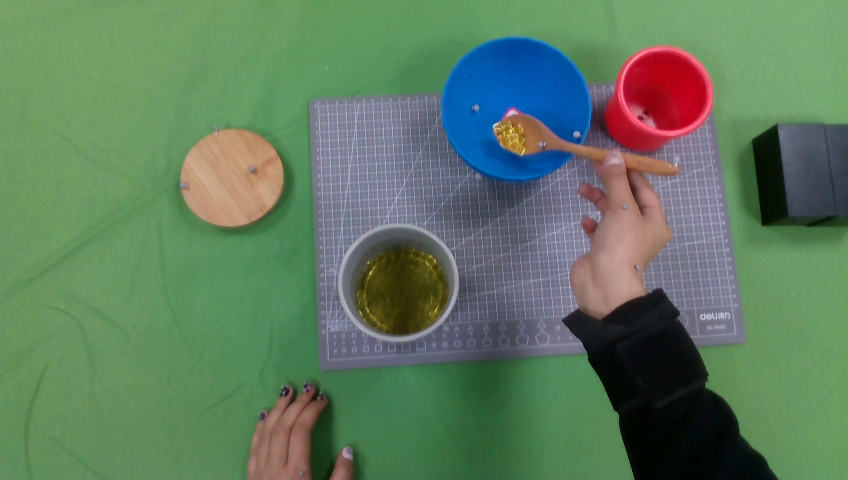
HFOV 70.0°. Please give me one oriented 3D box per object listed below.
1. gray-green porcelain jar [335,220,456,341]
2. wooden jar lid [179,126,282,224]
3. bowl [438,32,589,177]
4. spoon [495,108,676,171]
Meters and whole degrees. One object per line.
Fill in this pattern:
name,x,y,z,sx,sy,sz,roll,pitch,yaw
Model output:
gray-green porcelain jar,-0.025,0.044,0.582,0.106,0.127,0.105,0,80,-1
wooden jar lid,-0.207,-0.069,0.654,0.108,0.021,0.108,0,81,0
bowl,0.088,-0.130,0.636,0.151,0.077,0.151,0,81,-1
spoon,0.144,-0.090,0.570,0.022,0.192,0.042,-11,116,-39
